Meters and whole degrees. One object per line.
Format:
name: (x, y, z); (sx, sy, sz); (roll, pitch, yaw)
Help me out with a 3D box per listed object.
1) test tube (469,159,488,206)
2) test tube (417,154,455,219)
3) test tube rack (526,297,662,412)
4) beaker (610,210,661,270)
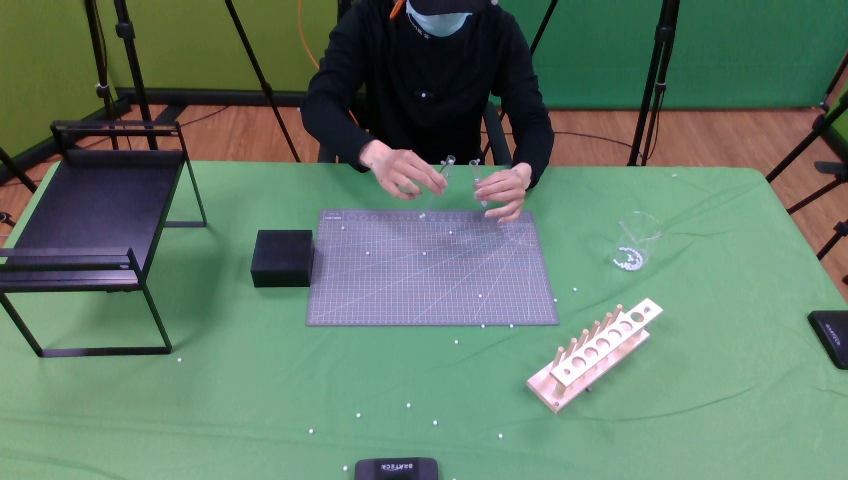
test tube: (0.106, -0.107, 1.159); (0.017, 0.151, 0.017); (-6, 61, 12)
test tube: (0.020, -0.096, 1.117); (0.017, 0.150, 0.017); (17, 38, -14)
test tube rack: (0.284, 0.176, 1.007); (0.242, 0.085, 0.066); (-29, 54, -27)
beaker: (0.404, 0.005, 1.170); (0.074, 0.101, 0.083); (20, 49, 15)
